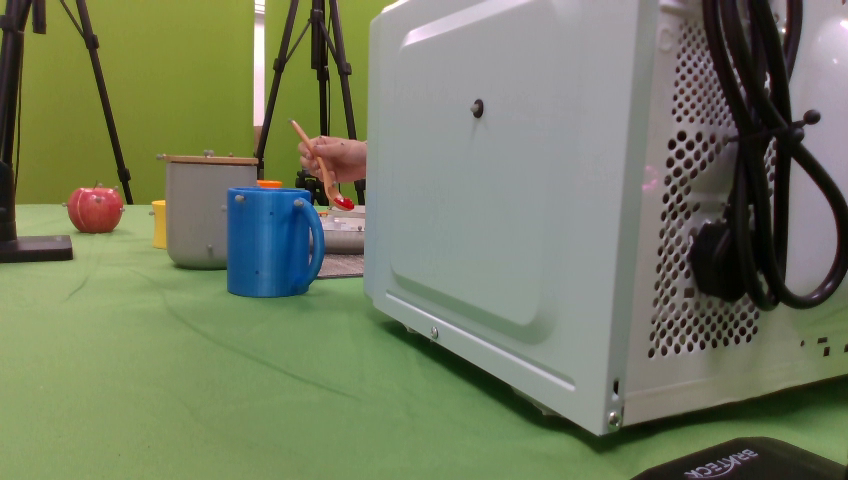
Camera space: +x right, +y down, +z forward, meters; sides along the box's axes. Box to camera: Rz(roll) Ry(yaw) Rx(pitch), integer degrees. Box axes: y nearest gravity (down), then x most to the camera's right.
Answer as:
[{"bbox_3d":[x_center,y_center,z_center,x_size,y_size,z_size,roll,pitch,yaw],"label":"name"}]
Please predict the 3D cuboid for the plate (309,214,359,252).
[{"bbox_3d":[-0.130,-0.011,0.945,0.208,0.039,0.207,2,8,0],"label":"plate"}]

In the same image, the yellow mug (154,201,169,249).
[{"bbox_3d":[-0.337,-0.022,0.899,0.130,0.064,0.100,8,9,34],"label":"yellow mug"}]

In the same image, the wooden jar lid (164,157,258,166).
[{"bbox_3d":[-0.261,-0.093,0.746,0.108,0.020,0.108,0,9,0],"label":"wooden jar lid"}]

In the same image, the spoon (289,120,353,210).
[{"bbox_3d":[-0.166,-0.122,0.961,0.021,0.193,0.042,-39,-21,26],"label":"spoon"}]

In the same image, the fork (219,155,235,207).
[{"bbox_3d":[-0.459,-0.134,1.415,0.028,0.018,0.207,-1,-34,-25],"label":"fork"}]

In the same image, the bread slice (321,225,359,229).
[{"bbox_3d":[-0.124,-0.008,0.938,0.131,0.019,0.105,4,9,33],"label":"bread slice"}]

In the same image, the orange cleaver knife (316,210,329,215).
[{"bbox_3d":[-0.259,-0.064,1.423,0.212,0.012,0.077,-4,3,-30],"label":"orange cleaver knife"}]

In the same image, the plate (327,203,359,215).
[{"bbox_3d":[-0.102,-0.053,1.299,0.209,0.038,0.209,2,8,0],"label":"plate"}]

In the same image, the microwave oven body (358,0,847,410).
[{"bbox_3d":[0.210,-0.051,0.471,0.444,0.260,0.324,-1,7,-28],"label":"microwave oven body"}]

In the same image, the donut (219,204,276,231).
[{"bbox_3d":[-0.316,-0.039,1.083,0.099,0.048,0.099,3,7,0],"label":"donut"}]

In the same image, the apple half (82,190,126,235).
[{"bbox_3d":[-0.516,-0.046,0.994,0.032,0.081,0.081,0,6,26],"label":"apple half"}]

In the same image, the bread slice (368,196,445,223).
[{"bbox_3d":[-0.040,-0.057,1.142,0.107,0.018,0.133,-8,-8,-39],"label":"bread slice"}]

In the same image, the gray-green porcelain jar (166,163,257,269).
[{"bbox_3d":[-0.263,-0.031,0.754,0.106,0.126,0.106,2,7,0],"label":"gray-green porcelain jar"}]

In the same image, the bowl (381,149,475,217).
[{"bbox_3d":[0.015,-0.083,0.951,0.151,0.076,0.151,-15,-3,0],"label":"bowl"}]

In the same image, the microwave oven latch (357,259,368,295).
[{"bbox_3d":[-0.019,0.031,0.529,0.079,0.029,0.030,-1,7,-26],"label":"microwave oven latch"}]

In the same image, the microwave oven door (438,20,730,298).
[{"bbox_3d":[0.181,-0.076,0.618,0.358,0.243,0.039,-2,8,-28],"label":"microwave oven door"}]

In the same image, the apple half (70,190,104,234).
[{"bbox_3d":[-0.552,-0.047,1.010,0.053,0.074,0.081,-1,9,26],"label":"apple half"}]

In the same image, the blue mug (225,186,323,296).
[{"bbox_3d":[-0.148,0.000,0.618,0.116,0.106,0.083,7,9,33],"label":"blue mug"}]
